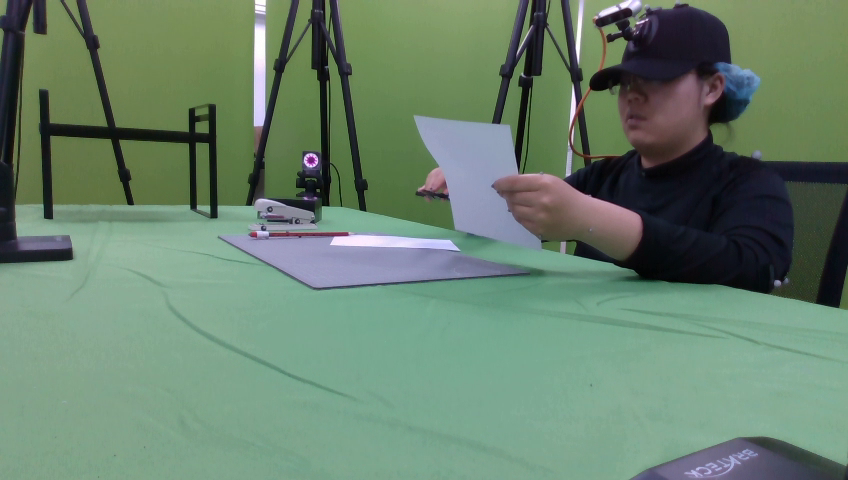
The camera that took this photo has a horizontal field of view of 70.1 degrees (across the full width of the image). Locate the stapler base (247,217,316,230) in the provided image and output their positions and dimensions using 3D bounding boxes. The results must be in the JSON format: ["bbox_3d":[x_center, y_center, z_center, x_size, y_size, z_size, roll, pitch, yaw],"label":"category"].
[{"bbox_3d":[-0.276,-0.033,1.172,0.131,0.024,0.041,0,10,-37],"label":"stapler base"}]

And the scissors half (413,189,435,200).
[{"bbox_3d":[-0.001,-0.077,0.996,0.040,0.013,0.175,4,1,2],"label":"scissors half"}]

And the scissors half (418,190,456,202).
[{"bbox_3d":[0.018,-0.074,0.992,0.040,0.013,0.176,10,3,19],"label":"scissors half"}]

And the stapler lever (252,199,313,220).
[{"bbox_3d":[-0.273,-0.058,1.170,0.119,0.040,0.026,0,10,-37],"label":"stapler lever"}]

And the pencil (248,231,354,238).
[{"bbox_3d":[-0.206,-0.009,1.040,0.195,0.012,0.012,0,8,-36],"label":"pencil"}]
